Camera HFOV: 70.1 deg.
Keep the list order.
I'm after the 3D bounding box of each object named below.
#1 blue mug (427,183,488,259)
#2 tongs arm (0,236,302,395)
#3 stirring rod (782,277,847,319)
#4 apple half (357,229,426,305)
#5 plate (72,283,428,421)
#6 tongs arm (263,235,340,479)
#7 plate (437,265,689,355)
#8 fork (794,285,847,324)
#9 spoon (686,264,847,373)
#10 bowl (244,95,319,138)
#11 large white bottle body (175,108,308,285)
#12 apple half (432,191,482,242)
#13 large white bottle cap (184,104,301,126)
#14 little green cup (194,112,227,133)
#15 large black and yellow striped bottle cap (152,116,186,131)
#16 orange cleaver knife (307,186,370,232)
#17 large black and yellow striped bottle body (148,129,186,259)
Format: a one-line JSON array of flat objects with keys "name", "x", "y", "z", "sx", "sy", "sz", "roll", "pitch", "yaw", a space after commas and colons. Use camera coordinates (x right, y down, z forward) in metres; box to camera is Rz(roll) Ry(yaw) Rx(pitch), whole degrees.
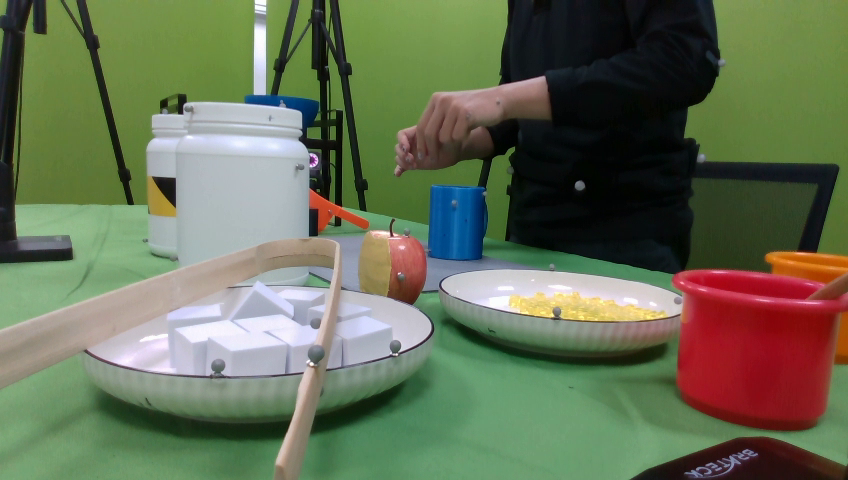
[{"name": "blue mug", "x": 0.059, "y": -0.031, "z": 0.907, "sx": 0.082, "sy": 0.106, "sz": 0.117, "roll": 9, "pitch": 9, "yaw": 42}, {"name": "tongs arm", "x": -0.158, "y": 0.038, "z": 0.351, "sx": 0.028, "sy": 0.028, "sz": 0.388, "roll": -3, "pitch": 8, "yaw": 12}, {"name": "stirring rod", "x": 0.344, "y": 0.019, "z": 0.461, "sx": 0.014, "sy": 0.006, "sz": 0.176, "roll": -13, "pitch": -27, "yaw": -30}, {"name": "apple half", "x": -0.026, "y": 0.028, "z": 0.570, "sx": 0.053, "sy": 0.074, "sz": 0.080, "roll": 3, "pitch": 2, "yaw": -28}, {"name": "plate", "x": -0.102, "y": 0.066, "z": 0.381, "sx": 0.208, "sy": 0.039, "sz": 0.207, "roll": 2, "pitch": 7, "yaw": 0}, {"name": "tongs arm", "x": -0.074, "y": 0.039, "z": 0.349, "sx": 0.051, "sy": 0.026, "sz": 0.384, "roll": -2, "pitch": 9, "yaw": -3}, {"name": "plate", "x": 0.114, "y": 0.057, "z": 0.517, "sx": 0.209, "sy": 0.038, "sz": 0.209, "roll": 3, "pitch": 8, "yaw": 0}, {"name": "fork", "x": 0.332, "y": 0.018, "z": 0.443, "sx": 0.028, "sy": 0.018, "sz": 0.207, "roll": -1, "pitch": -36, "yaw": -15}, {"name": "spoon", "x": 0.215, "y": 0.032, "z": 0.328, "sx": 0.042, "sy": 0.021, "sz": 0.193, "roll": -3, "pitch": -35, "yaw": -26}, {"name": "bowl", "x": -0.293, "y": -0.251, "z": 1.249, "sx": 0.151, "sy": 0.077, "sz": 0.151, "roll": 2, "pitch": 7, "yaw": 0}, {"name": "large white bottle body", "x": -0.188, "y": -0.042, "z": 0.630, "sx": 0.131, "sy": 0.184, "sz": 0.130, "roll": 2, "pitch": 8, "yaw": 0}, {"name": "apple half", "x": 0.048, "y": -0.037, "z": 0.906, "sx": 0.081, "sy": 0.081, "sz": 0.033, "roll": 2, "pitch": 15, "yaw": -1}, {"name": "large white bottle cap", "x": -0.184, "y": -0.126, "z": 0.618, "sx": 0.115, "sy": 0.018, "sz": 0.115, "roll": 2, "pitch": 8, "yaw": 0}, {"name": "little green cup", "x": -0.412, "y": -0.228, "z": 1.171, "sx": 0.061, "sy": 0.038, "sz": 0.061, "roll": 2, "pitch": 8, "yaw": 0}, {"name": "large black and yellow striped bottle cap", "x": -0.309, "y": -0.155, "z": 0.826, "sx": 0.115, "sy": 0.019, "sz": 0.115, "roll": 3, "pitch": 6, "yaw": 0}, {"name": "orange cleaver knife", "x": -0.197, "y": -0.056, "z": 1.141, "sx": 0.212, "sy": 0.077, "sz": 0.012, "roll": 29, "pitch": 0, "yaw": -34}, {"name": "large black and yellow striped bottle body", "x": -0.310, "y": -0.073, "z": 0.838, "sx": 0.131, "sy": 0.184, "sz": 0.130, "roll": 2, "pitch": 8, "yaw": 0}]
